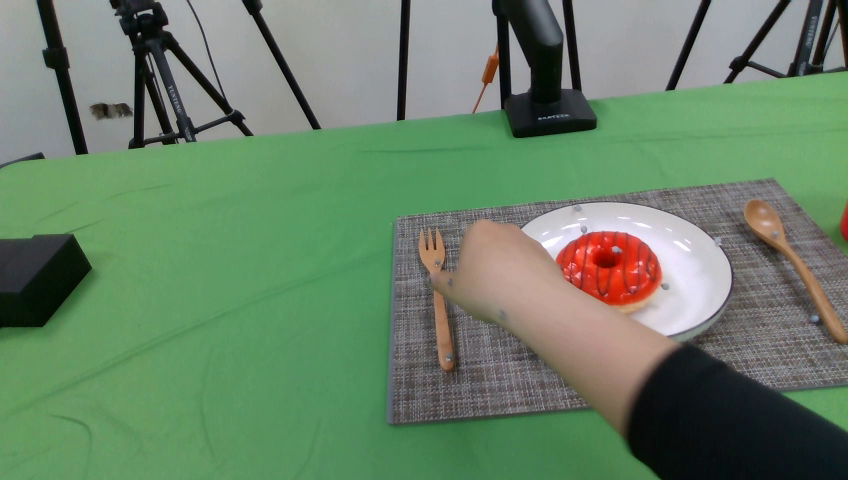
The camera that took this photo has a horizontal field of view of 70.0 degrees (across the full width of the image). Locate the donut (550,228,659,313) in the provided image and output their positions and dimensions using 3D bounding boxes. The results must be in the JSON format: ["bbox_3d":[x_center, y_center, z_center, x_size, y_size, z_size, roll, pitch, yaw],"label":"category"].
[{"bbox_3d":[0.170,0.029,0.573,0.099,0.049,0.098,-6,39,5],"label":"donut"}]

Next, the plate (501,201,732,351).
[{"bbox_3d":[0.180,0.033,0.584,0.209,0.038,0.207,-5,36,4],"label":"plate"}]

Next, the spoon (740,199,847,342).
[{"bbox_3d":[0.353,0.021,0.582,0.042,0.022,0.192,10,36,-6],"label":"spoon"}]

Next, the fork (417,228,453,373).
[{"bbox_3d":[0.012,0.051,0.605,0.028,0.019,0.205,-2,35,-4],"label":"fork"}]
